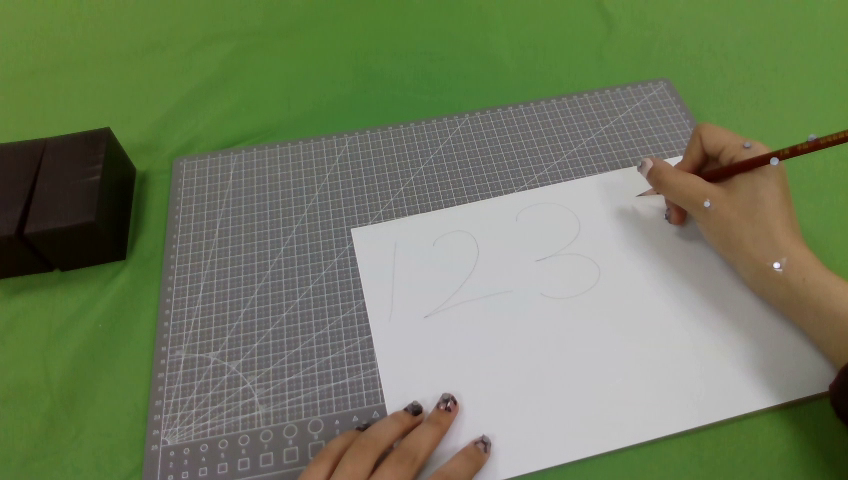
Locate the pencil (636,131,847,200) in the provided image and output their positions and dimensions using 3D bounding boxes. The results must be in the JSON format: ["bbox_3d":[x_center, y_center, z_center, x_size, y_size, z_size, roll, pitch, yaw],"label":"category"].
[{"bbox_3d":[0.213,-0.048,0.387,0.012,0.193,0.012,7,76,-30],"label":"pencil"}]
